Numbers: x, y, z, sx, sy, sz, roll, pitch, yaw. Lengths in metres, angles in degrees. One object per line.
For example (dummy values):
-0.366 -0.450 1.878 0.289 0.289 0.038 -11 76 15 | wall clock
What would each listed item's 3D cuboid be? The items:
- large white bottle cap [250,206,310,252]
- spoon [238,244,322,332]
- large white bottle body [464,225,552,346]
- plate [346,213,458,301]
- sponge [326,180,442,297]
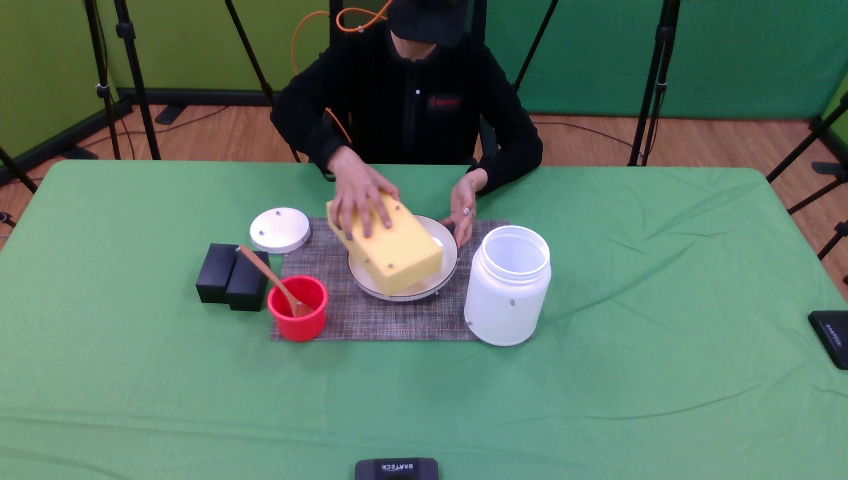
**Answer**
-0.284 -0.023 1.197 0.115 0.018 0.114 1 46 -1 | large white bottle cap
-0.241 0.079 1.015 0.194 0.021 0.041 53 52 -15 | spoon
0.141 0.076 1.017 0.131 0.185 0.130 2 46 -2 | large white bottle body
-0.040 0.034 1.135 0.209 0.038 0.208 -2 48 3 | plate
-0.075 -0.008 1.094 0.118 0.061 0.205 -27 57 -24 | sponge
